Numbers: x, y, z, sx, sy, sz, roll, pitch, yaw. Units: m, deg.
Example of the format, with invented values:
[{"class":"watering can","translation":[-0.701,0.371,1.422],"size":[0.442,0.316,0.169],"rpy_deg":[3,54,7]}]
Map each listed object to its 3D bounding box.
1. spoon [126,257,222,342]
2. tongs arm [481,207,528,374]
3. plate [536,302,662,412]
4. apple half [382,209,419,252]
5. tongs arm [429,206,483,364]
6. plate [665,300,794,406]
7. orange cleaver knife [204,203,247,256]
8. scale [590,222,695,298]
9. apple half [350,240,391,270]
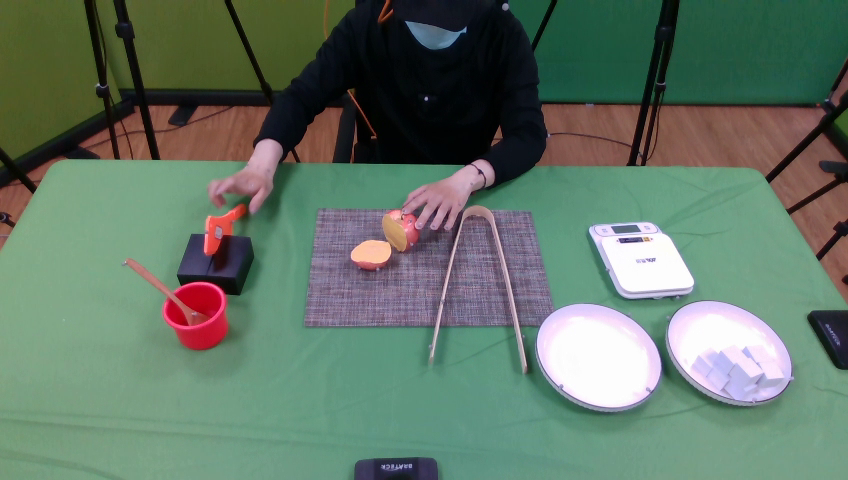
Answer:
[{"class":"spoon","translation":[-0.408,0.096,0.990],"size":[0.194,0.021,0.041],"rpy_deg":[50,53,-18]},{"class":"tongs arm","translation":[0.149,0.077,1.124],"size":[0.028,0.028,0.385],"rpy_deg":[-5,46,-2]},{"class":"plate","translation":[0.288,0.197,1.016],"size":[0.209,0.038,0.208],"rpy_deg":[2,46,-2]},{"class":"apple half","translation":[-0.039,-0.022,1.175],"size":[0.053,0.075,0.080],"rpy_deg":[-27,50,-31]},{"class":"tongs arm","translation":[0.064,0.069,1.124],"size":[0.051,0.026,0.382],"rpy_deg":[8,46,5]},{"class":"plate","translation":[0.513,0.194,1.034],"size":[0.208,0.039,0.206],"rpy_deg":[2,46,-2]},{"class":"orange cleaver knife","translation":[-0.374,-0.024,1.146],"size":[0.012,0.077,0.211],"rpy_deg":[5,14,1]},{"class":"scale","translation":[0.424,0.031,1.189],"size":[0.149,0.032,0.199],"rpy_deg":[-3,46,-7]},{"class":"apple half","translation":[-0.097,0.033,1.146],"size":[0.081,0.033,0.081],"rpy_deg":[-4,33,3]}]
